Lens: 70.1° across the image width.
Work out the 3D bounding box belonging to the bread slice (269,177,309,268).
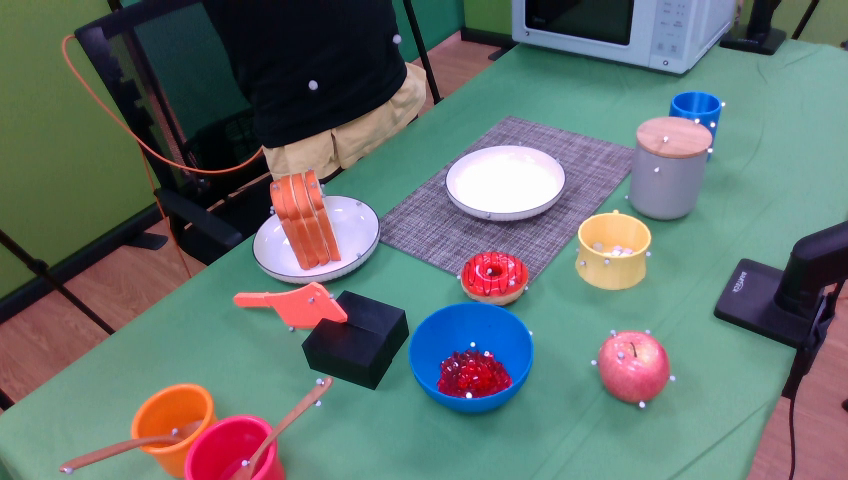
[{"bbox_3d":[-0.212,-0.034,0.946,0.019,0.132,0.104,-18,39,-3],"label":"bread slice"}]

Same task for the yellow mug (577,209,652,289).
[{"bbox_3d":[0.279,0.004,0.893,0.099,0.064,0.130,5,41,15],"label":"yellow mug"}]

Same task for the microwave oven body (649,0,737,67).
[{"bbox_3d":[0.475,-0.602,1.411,0.438,0.261,0.327,23,50,32],"label":"microwave oven body"}]

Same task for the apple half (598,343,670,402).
[{"bbox_3d":[0.247,0.161,0.710,0.081,0.075,0.053,2,47,5],"label":"apple half"}]

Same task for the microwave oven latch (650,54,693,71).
[{"bbox_3d":[0.531,-0.386,1.301,0.078,0.029,0.030,26,51,33],"label":"microwave oven latch"}]

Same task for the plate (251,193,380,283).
[{"bbox_3d":[-0.173,-0.001,0.985,0.209,0.038,0.208,-4,41,4],"label":"plate"}]

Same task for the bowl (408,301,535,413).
[{"bbox_3d":[0.060,0.156,0.739,0.151,0.077,0.150,-4,40,4],"label":"bowl"}]

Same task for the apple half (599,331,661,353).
[{"bbox_3d":[0.249,0.134,0.738,0.081,0.081,0.032,-2,46,7],"label":"apple half"}]

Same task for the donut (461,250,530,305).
[{"bbox_3d":[0.103,0.053,0.872,0.099,0.048,0.098,-5,40,4],"label":"donut"}]

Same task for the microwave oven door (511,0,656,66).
[{"bbox_3d":[0.351,-0.540,1.349,0.353,0.245,0.039,24,50,31],"label":"microwave oven door"}]

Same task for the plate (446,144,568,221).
[{"bbox_3d":[0.142,-0.096,1.045,0.207,0.039,0.206,-4,40,4],"label":"plate"}]

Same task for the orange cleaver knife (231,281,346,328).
[{"bbox_3d":[-0.192,0.093,0.844,0.210,0.077,0.012,-7,31,38],"label":"orange cleaver knife"}]

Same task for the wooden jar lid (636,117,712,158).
[{"bbox_3d":[0.377,-0.151,0.917,0.108,0.021,0.108,-2,42,3],"label":"wooden jar lid"}]

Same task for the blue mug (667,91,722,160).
[{"bbox_3d":[0.474,-0.207,1.079,0.082,0.106,0.116,4,42,13],"label":"blue mug"}]

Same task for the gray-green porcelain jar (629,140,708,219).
[{"bbox_3d":[0.383,-0.105,0.958,0.106,0.127,0.105,-4,41,4],"label":"gray-green porcelain jar"}]

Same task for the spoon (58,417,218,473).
[{"bbox_3d":[-0.304,0.221,0.661,0.041,0.195,0.021,19,92,27],"label":"spoon"}]

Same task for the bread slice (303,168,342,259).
[{"bbox_3d":[-0.161,-0.046,0.952,0.018,0.135,0.106,-18,45,-6],"label":"bread slice"}]

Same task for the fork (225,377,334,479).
[{"bbox_3d":[-0.163,0.216,0.646,0.207,0.019,0.028,-49,42,16],"label":"fork"}]
